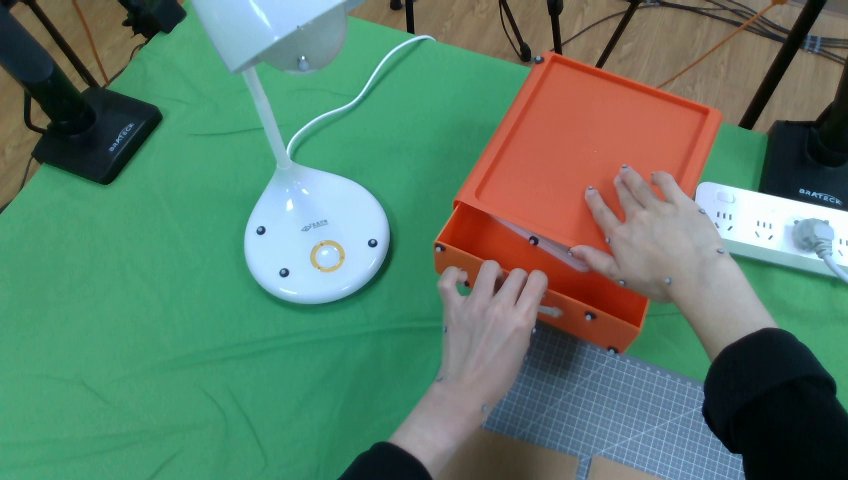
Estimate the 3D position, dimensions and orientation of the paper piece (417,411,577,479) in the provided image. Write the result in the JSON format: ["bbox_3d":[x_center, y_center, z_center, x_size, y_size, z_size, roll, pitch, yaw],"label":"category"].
[{"bbox_3d":[0.056,0.237,0.544,0.135,0.009,0.137,14,64,13],"label":"paper piece"}]

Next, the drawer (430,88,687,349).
[{"bbox_3d":[0.138,-0.028,0.593,0.193,0.074,0.211,24,66,14],"label":"drawer"}]

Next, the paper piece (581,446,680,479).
[{"bbox_3d":[0.192,0.267,0.523,0.135,0.004,0.135,18,64,12],"label":"paper piece"}]

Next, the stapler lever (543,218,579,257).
[{"bbox_3d":[0.106,-0.025,0.589,0.117,0.040,0.027,40,96,25],"label":"stapler lever"}]

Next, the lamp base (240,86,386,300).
[{"bbox_3d":[-0.131,-0.053,0.609,0.160,0.182,0.177,-30,62,-14],"label":"lamp base"}]

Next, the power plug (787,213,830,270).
[{"bbox_3d":[0.389,0.004,0.623,0.035,0.053,0.072,24,65,14],"label":"power plug"}]

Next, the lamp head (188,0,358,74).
[{"bbox_3d":[-0.097,-0.172,0.343,0.112,0.112,0.123,-38,105,-17],"label":"lamp head"}]

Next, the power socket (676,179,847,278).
[{"bbox_3d":[0.389,-0.012,0.658,0.226,0.033,0.072,14,64,9],"label":"power socket"}]

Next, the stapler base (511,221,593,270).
[{"bbox_3d":[0.116,-0.021,0.605,0.129,0.024,0.041,41,97,31],"label":"stapler base"}]

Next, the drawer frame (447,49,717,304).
[{"bbox_3d":[0.158,-0.068,0.616,0.201,0.083,0.212,24,66,14],"label":"drawer frame"}]
